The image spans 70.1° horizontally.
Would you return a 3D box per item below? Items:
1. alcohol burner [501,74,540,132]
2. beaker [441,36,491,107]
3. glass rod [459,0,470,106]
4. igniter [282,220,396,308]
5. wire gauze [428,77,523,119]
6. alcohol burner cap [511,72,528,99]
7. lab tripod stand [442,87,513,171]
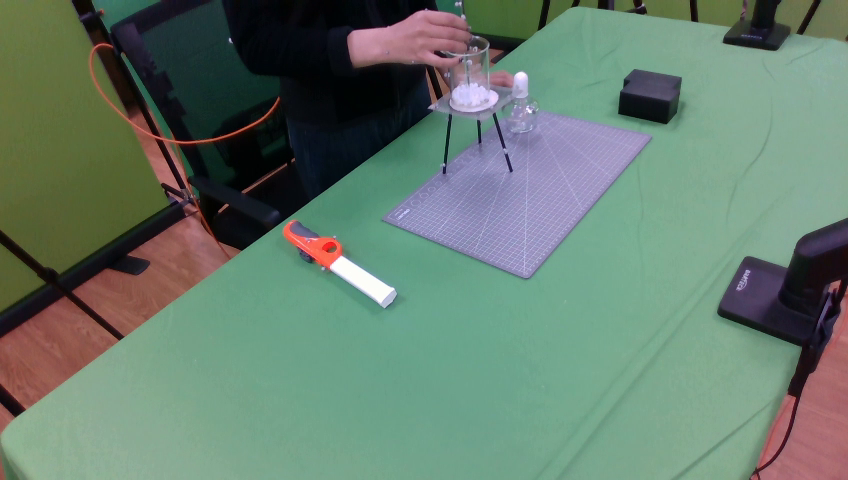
[{"bbox_3d":[0.191,-0.275,1.194,0.078,0.119,0.077,-4,42,4],"label":"alcohol burner"},{"bbox_3d":[0.074,-0.286,1.036,0.084,0.101,0.073,-1,41,8],"label":"beaker"},{"bbox_3d":[0.065,-0.311,0.984,0.008,0.200,0.008,-5,36,4],"label":"glass rod"},{"bbox_3d":[-0.146,0.032,0.966,0.274,0.025,0.057,30,64,37],"label":"igniter"},{"bbox_3d":[0.090,-0.249,1.063,0.120,0.011,0.125,24,48,30],"label":"wire gauze"},{"bbox_3d":[0.185,-0.302,1.171,0.034,0.048,0.033,-2,42,2],"label":"alcohol burner cap"},{"bbox_3d":[0.097,-0.200,1.108,0.148,0.132,0.147,-4,40,4],"label":"lab tripod stand"}]
